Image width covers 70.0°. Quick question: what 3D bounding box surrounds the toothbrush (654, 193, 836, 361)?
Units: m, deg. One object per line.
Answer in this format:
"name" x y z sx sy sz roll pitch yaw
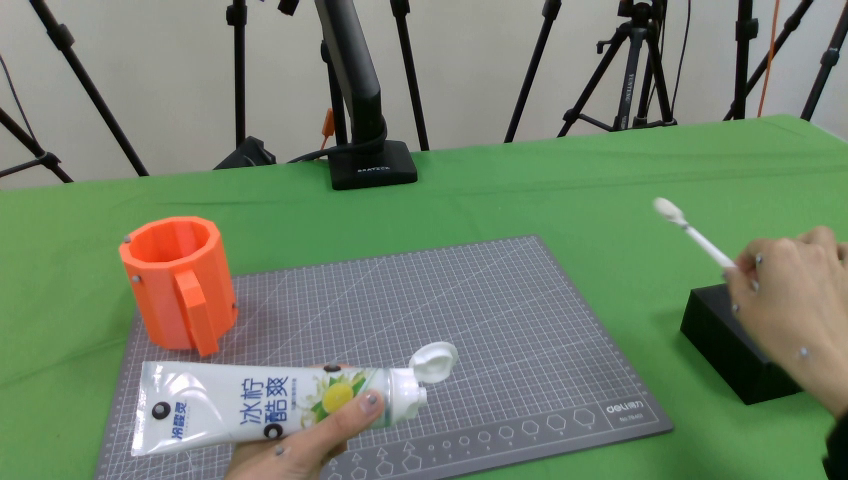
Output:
"toothbrush" 0.247 0.023 0.479 0.014 0.017 0.180 -41 57 7

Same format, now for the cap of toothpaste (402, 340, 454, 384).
"cap of toothpaste" 0.004 0.080 0.393 0.037 0.037 0.011 -13 38 -17

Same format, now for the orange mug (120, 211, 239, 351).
"orange mug" -0.220 0.042 0.563 0.083 0.101 0.125 -19 35 -25

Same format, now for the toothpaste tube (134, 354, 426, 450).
"toothpaste tube" -0.081 0.090 0.359 0.165 0.035 0.054 0 57 -12
